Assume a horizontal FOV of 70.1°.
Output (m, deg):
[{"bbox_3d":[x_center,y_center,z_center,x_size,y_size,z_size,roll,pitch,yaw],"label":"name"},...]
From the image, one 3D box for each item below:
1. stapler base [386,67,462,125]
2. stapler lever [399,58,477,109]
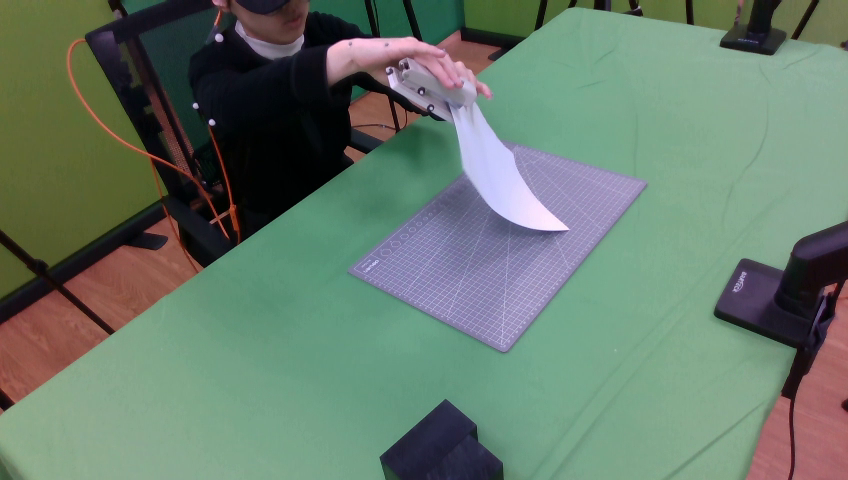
[{"bbox_3d":[0.008,-0.195,0.805,0.132,0.024,0.041,18,41,-39],"label":"stapler base"},{"bbox_3d":[0.021,-0.208,0.792,0.040,0.119,0.026,-41,48,28],"label":"stapler lever"}]
